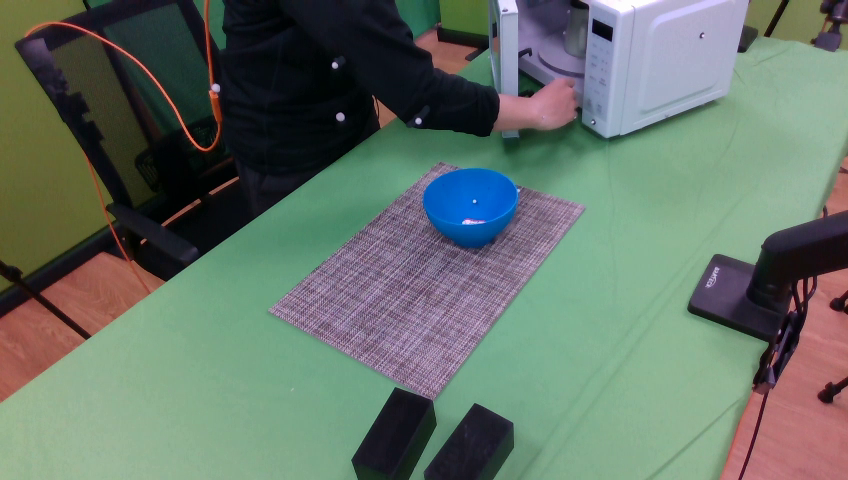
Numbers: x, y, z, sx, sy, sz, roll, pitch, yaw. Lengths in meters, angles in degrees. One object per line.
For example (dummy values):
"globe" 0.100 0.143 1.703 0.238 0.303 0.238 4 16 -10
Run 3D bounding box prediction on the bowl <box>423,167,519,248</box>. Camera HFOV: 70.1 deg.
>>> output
"bowl" 0.075 -0.041 0.958 0.151 0.077 0.150 -4 40 4

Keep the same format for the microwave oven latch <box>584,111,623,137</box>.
"microwave oven latch" 0.337 -0.222 1.142 0.030 0.029 0.078 -21 42 -14

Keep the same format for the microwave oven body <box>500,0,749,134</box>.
"microwave oven body" 0.382 -0.444 1.246 0.327 0.261 0.437 -22 42 -16

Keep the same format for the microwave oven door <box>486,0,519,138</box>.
"microwave oven door" 0.156 -0.403 1.222 0.039 0.245 0.354 -4 41 4
